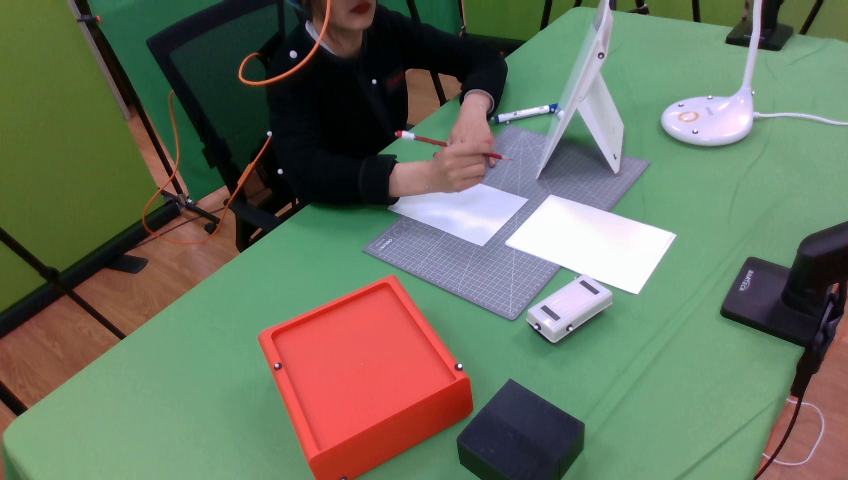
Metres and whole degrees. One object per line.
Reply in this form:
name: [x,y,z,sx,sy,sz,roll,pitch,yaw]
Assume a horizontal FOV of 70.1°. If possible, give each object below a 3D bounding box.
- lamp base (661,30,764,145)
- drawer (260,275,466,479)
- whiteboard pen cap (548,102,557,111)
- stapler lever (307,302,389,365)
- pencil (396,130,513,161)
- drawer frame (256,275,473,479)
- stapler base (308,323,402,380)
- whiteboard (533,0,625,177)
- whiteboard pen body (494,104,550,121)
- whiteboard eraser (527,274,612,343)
lamp base: [0.535,-0.287,1.096,0.179,0.181,0.159,-10,40,-4]
drawer: [-0.080,0.162,0.760,0.195,0.073,0.210,-22,42,-16]
whiteboard pen cap: [0.273,-0.279,1.259,0.033,0.018,0.018,-10,40,-4]
stapler lever: [-0.101,0.121,0.799,0.118,0.040,0.026,-26,29,-17]
pencil: [0.049,-0.151,0.973,0.194,0.012,0.012,14,43,0]
drawer frame: [-0.078,0.164,0.756,0.202,0.083,0.211,-23,43,-17]
stapler base: [-0.094,0.142,0.812,0.131,0.024,0.041,-25,29,-17]
whiteboard: [0.321,-0.258,1.049,0.144,0.306,0.217,20,45,4]
whiteboard pen body: [0.216,-0.267,1.256,0.141,0.017,0.017,-12,40,-4]
whiteboard eraser: [0.198,0.094,0.820,0.113,0.042,0.055,-29,43,-22]
